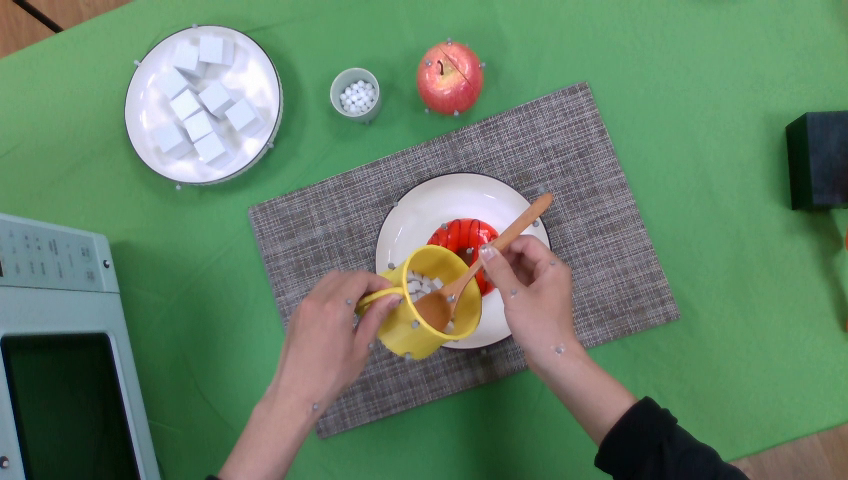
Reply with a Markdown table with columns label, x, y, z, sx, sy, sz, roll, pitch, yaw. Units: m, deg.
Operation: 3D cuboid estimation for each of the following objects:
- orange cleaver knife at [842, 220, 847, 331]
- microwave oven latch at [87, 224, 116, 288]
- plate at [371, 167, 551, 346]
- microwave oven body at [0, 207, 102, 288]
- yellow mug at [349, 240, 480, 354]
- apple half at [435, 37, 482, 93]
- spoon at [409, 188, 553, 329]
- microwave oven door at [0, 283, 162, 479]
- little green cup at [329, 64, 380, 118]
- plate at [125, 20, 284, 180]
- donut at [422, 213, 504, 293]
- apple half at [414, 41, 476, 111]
| label | x | y | z | sx | sy | sz | roll | pitch | yaw |
| --- | --- | --- | --- | --- | --- | --- | --- | --- | --- |
| orange cleaver knife | 0.465 | -0.004 | 0.640 | 0.012 | 0.076 | 0.213 | 0 | 116 | 9 |
| microwave oven latch | -0.410 | 0.022 | 0.754 | 0.030 | 0.029 | 0.079 | -15 | 83 | 5 |
| plate | 0.043 | 0.019 | 0.712 | 0.209 | 0.038 | 0.208 | -1 | 84 | 7 |
| microwave oven body | -0.516 | 0.222 | 0.650 | 0.326 | 0.261 | 0.440 | -17 | 83 | 5 |
| yellow mug | -0.013 | 0.057 | 0.596 | 0.064 | 0.132 | 0.099 | -35 | 63 | 43 |
| apple half | 0.048 | -0.212 | 0.720 | 0.033 | 0.081 | 0.081 | -41 | 80 | 5 |
| spoon | 0.050 | 0.022 | 0.573 | 0.194 | 0.022 | 0.041 | -46 | 70 | 16 |
| microwave oven door | -0.366 | 0.220 | 0.626 | 0.039 | 0.244 | 0.354 | -17 | 82 | 5 |
| little green cup | -0.084 | -0.182 | 0.752 | 0.061 | 0.039 | 0.061 | -1 | 84 | 8 |
| plate | -0.276 | -0.176 | 0.776 | 0.207 | 0.039 | 0.207 | -1 | 84 | 7 |
| donut | 0.044 | 0.017 | 0.701 | 0.099 | 0.048 | 0.099 | -1 | 86 | 8 |
| apple half | 0.018 | -0.187 | 0.723 | 0.053 | 0.075 | 0.080 | -40 | 84 | 6 |
